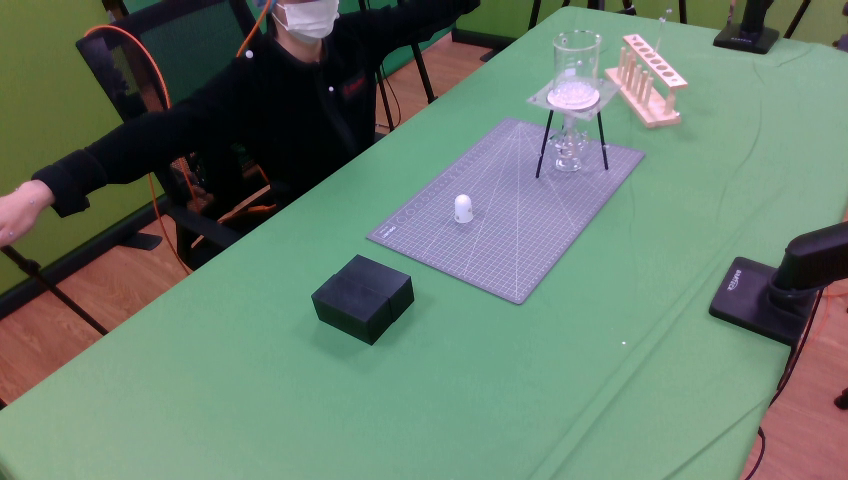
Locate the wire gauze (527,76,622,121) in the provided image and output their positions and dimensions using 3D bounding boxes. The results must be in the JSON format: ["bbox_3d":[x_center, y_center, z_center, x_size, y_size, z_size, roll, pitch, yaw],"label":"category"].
[{"bbox_3d":[0.255,-0.247,1.030,0.124,0.011,0.122,23,49,34],"label":"wire gauze"}]

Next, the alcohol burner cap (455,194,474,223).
[{"bbox_3d":[0.066,-0.054,1.006,0.034,0.048,0.033,-5,40,4],"label":"alcohol burner cap"}]

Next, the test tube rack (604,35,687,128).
[{"bbox_3d":[0.447,-0.330,1.241,0.067,0.085,0.241,-9,41,-2],"label":"test tube rack"}]

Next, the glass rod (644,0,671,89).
[{"bbox_3d":[0.463,-0.387,1.204,0.008,0.200,0.008,0,47,1],"label":"glass rod"}]

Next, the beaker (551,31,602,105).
[{"bbox_3d":[0.252,-0.282,0.998,0.084,0.101,0.073,-16,42,-7],"label":"beaker"}]

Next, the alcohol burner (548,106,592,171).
[{"bbox_3d":[0.258,-0.183,1.072,0.078,0.119,0.077,-6,41,6],"label":"alcohol burner"}]

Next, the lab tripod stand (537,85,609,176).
[{"bbox_3d":[0.259,-0.192,1.068,0.148,0.132,0.147,-4,43,4],"label":"lab tripod stand"}]
